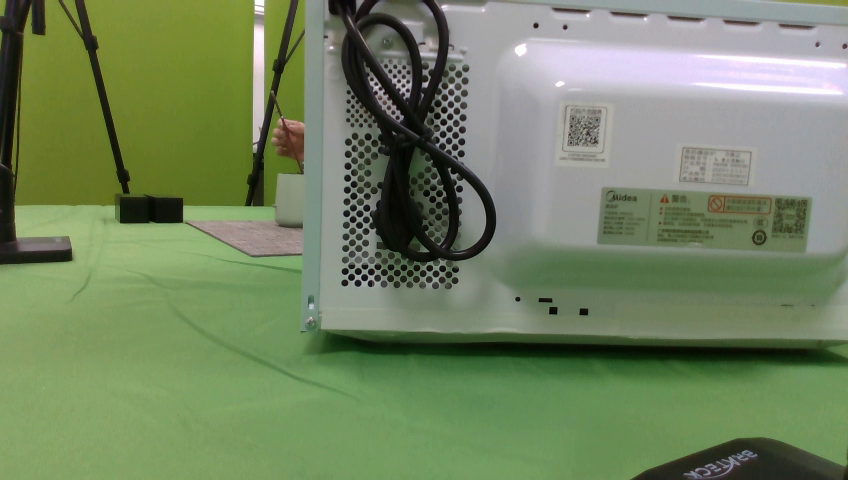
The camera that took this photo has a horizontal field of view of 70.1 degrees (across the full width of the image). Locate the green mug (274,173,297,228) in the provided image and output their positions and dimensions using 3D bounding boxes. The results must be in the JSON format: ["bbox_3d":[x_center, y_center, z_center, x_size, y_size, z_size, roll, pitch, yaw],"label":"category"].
[{"bbox_3d":[-0.242,-0.081,1.221,0.092,0.105,0.126,8,9,40],"label":"green mug"}]

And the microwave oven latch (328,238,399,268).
[{"bbox_3d":[-0.069,0.015,0.694,0.079,0.029,0.030,3,7,-3],"label":"microwave oven latch"}]

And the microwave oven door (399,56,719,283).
[{"bbox_3d":[0.155,-0.078,0.697,0.356,0.243,0.039,2,8,-5],"label":"microwave oven door"}]

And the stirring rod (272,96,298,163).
[{"bbox_3d":[-0.268,-0.202,1.205,0.006,0.176,0.014,-20,12,-7],"label":"stirring rod"}]

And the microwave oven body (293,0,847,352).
[{"bbox_3d":[0.122,-0.055,0.550,0.442,0.260,0.325,3,7,-5],"label":"microwave oven body"}]
